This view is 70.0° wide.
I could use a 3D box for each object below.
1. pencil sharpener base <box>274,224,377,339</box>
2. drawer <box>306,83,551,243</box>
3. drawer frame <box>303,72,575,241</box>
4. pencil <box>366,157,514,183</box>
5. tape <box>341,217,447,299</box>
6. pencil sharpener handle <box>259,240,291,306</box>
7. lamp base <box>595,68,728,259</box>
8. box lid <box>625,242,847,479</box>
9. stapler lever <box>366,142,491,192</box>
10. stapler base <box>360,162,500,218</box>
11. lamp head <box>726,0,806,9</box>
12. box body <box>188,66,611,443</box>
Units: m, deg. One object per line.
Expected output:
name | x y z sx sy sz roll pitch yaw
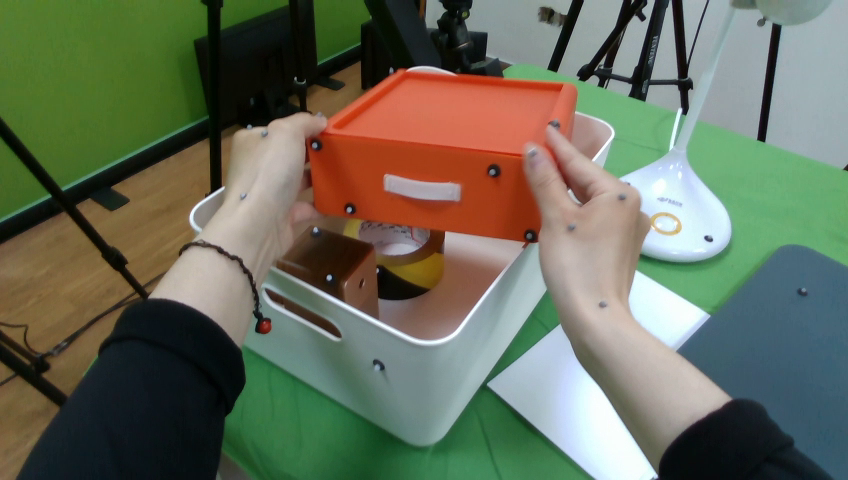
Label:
pencil sharpener base | -0.093 0.048 0.575 0.076 0.108 0.061 17 44 18
drawer | 0.026 -0.085 0.561 0.194 0.074 0.211 8 29 15
drawer frame | 0.027 -0.090 0.563 0.201 0.083 0.212 7 29 14
pencil | 0.008 -0.065 0.563 0.192 0.012 0.012 14 38 45
tape | -0.031 0.005 0.666 0.117 0.053 0.115 -5 43 5
pencil sharpener handle | -0.142 0.028 0.574 0.030 0.068 0.036 17 12 18
lamp base | 0.299 -0.099 0.715 0.160 0.182 0.178 10 39 8
box lid | 0.392 0.140 0.577 0.372 0.015 0.260 -30 50 -32
stapler lever | 0.003 -0.071 0.523 0.117 0.040 0.027 17 31 28
stapler base | 0.004 -0.049 0.535 0.129 0.024 0.041 16 30 29
lamp head | 0.299 -0.258 0.486 0.112 0.123 0.112 -6 1 0
box body | -0.003 -0.010 0.613 0.252 0.162 0.363 24 46 22
